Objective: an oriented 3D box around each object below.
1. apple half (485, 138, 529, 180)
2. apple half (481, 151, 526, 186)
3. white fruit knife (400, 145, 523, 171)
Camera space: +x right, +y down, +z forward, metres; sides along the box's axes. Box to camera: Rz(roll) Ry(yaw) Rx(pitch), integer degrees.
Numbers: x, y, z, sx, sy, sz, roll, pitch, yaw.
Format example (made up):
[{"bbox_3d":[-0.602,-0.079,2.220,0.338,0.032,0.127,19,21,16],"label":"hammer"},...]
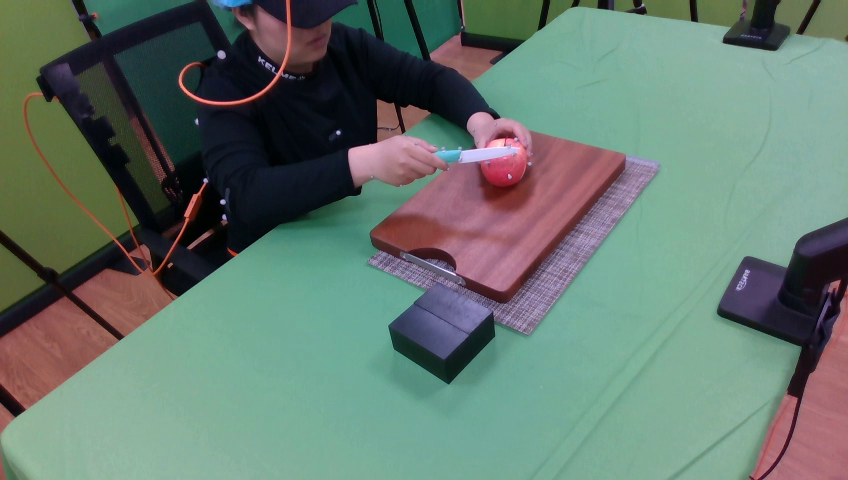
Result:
[{"bbox_3d":[0.143,-0.141,1.042,0.080,0.075,0.053,3,37,20],"label":"apple half"},{"bbox_3d":[0.131,-0.117,1.014,0.081,0.081,0.033,5,39,17],"label":"apple half"},{"bbox_3d":[0.056,-0.134,0.965,0.206,0.027,0.016,-5,39,19],"label":"white fruit knife"}]
